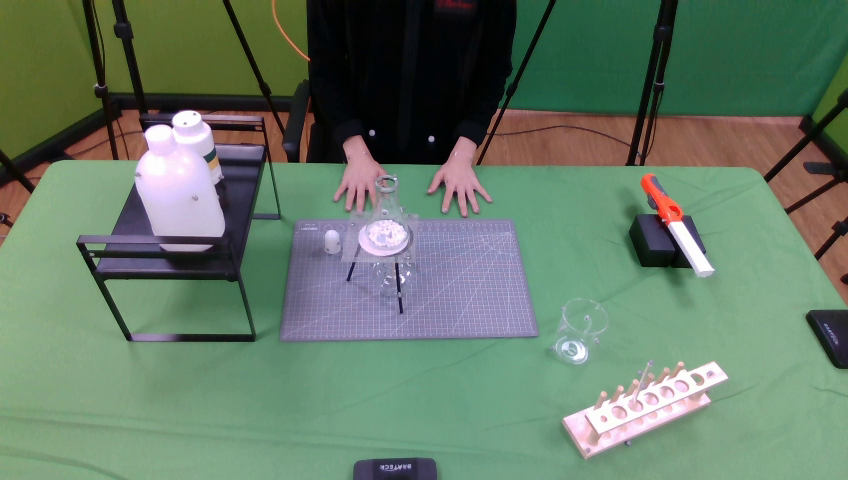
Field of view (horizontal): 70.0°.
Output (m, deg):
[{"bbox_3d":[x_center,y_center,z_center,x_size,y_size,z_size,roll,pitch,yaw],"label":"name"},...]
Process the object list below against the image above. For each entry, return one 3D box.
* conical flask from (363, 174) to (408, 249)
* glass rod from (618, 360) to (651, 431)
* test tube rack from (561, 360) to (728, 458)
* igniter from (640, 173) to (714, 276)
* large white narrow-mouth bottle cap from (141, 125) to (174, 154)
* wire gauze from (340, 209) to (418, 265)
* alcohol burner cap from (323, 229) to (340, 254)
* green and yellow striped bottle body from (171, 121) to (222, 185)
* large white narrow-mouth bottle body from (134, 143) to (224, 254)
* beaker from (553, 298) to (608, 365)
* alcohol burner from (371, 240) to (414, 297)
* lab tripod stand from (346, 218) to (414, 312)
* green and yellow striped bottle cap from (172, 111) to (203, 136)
[{"bbox_3d":[-0.063,-0.050,0.985,0.075,0.122,0.075,2,46,-1],"label":"conical flask"},{"bbox_3d":[0.298,0.227,0.865,0.008,0.201,0.008,-1,47,2],"label":"glass rod"},{"bbox_3d":[0.341,0.248,0.940,0.243,0.085,0.066,-15,48,-18],"label":"test tube rack"},{"bbox_3d":[0.495,-0.039,1.204,0.057,0.025,0.274,-2,47,-12],"label":"igniter"},{"bbox_3d":[-0.356,-0.134,0.810,0.038,0.024,0.037,2,48,-1],"label":"large white narrow-mouth bottle cap"},{"bbox_3d":[-0.074,-0.006,1.024,0.121,0.011,0.124,2,48,1],"label":"wire gauze"},{"bbox_3d":[-0.179,0.001,1.165,0.034,0.048,0.033,2,45,-2],"label":"alcohol burner cap"},{"bbox_3d":[-0.375,-0.149,0.995,0.063,0.120,0.063,2,46,-2],"label":"green and yellow striped bottle body"},{"bbox_3d":[-0.358,-0.075,0.875,0.102,0.195,0.101,1,48,-1],"label":"large white narrow-mouth bottle body"},{"bbox_3d":[0.260,0.154,1.015,0.073,0.101,0.084,37,54,27],"label":"beaker"},{"bbox_3d":[-0.057,0.046,1.082,0.078,0.120,0.077,1,46,0],"label":"alcohol burner"},{"bbox_3d":[-0.069,0.037,1.075,0.148,0.132,0.147,1,47,-1],"label":"lab tripod stand"},{"bbox_3d":[-0.374,-0.185,0.958,0.045,0.020,0.045,4,46,-4],"label":"green and yellow striped bottle cap"}]
